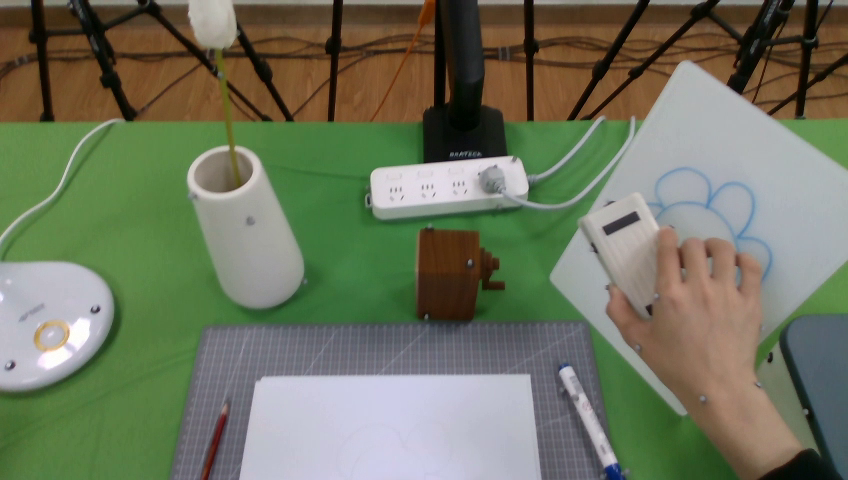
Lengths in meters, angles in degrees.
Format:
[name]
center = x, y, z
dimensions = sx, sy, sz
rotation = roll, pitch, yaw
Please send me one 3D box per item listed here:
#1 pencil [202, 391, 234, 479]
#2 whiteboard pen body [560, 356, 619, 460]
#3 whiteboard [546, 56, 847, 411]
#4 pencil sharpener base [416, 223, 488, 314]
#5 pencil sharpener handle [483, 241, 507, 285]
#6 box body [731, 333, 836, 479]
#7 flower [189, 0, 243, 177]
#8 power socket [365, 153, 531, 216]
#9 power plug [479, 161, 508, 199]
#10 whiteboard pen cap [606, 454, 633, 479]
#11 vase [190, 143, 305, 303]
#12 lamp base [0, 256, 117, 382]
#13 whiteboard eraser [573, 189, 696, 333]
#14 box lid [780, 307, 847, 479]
[pencil]
center = -0.217, 0.240, 0.600
dimensions = 0.012, 0.012, 0.192
rotation = 5, 53, 3
[whiteboard pen body]
center = 0.178, 0.186, 0.637
dimensions = 0.017, 0.017, 0.139
rotation = -14, 56, -10
[whiteboard]
center = 0.309, -0.008, 0.642
dimensions = 0.144, 0.307, 0.215
rotation = -17, 54, -35
[pencil sharpener base]
center = 0.030, 0.035, 0.691
dimensions = 0.077, 0.108, 0.061
rotation = 1, 54, 0
[pencil sharpener handle]
center = 0.082, 0.029, 0.681
dimensions = 0.030, 0.068, 0.035
rotation = 1, 53, 0
[box body]
center = 0.450, 0.253, 0.511
dimensions = 0.254, 0.162, 0.360
rotation = -1, 55, -2
[flower]
center = -0.186, -0.075, 0.608
dimensions = 0.038, 0.364, 0.043
rotation = -10, 37, -16
[power socket]
center = 0.034, -0.075, 0.814
dimensions = 0.227, 0.033, 0.071
rotation = -5, 56, -5
[power plug]
center = 0.088, -0.070, 0.783
dimensions = 0.035, 0.053, 0.072
rotation = 3, 56, 2
[whiteboard pen cap]
center = 0.194, 0.230, 0.603
dimensions = 0.018, 0.018, 0.033
rotation = -14, 56, -10
[vase]
center = -0.193, -0.013, 0.665
dimensions = 0.098, 0.202, 0.097
rotation = 0, 54, 1
[lamp base]
center = -0.447, 0.037, 0.637
dimensions = 0.178, 0.182, 0.160
rotation = 27, 58, 20
[whiteboard eraser]
center = 0.176, 0.017, 0.510
dimensions = 0.055, 0.042, 0.112
rotation = -27, 83, 1
[box lid]
center = 0.451, 0.208, 0.451
dimensions = 0.263, 0.015, 0.367
rotation = -1, 55, -2
